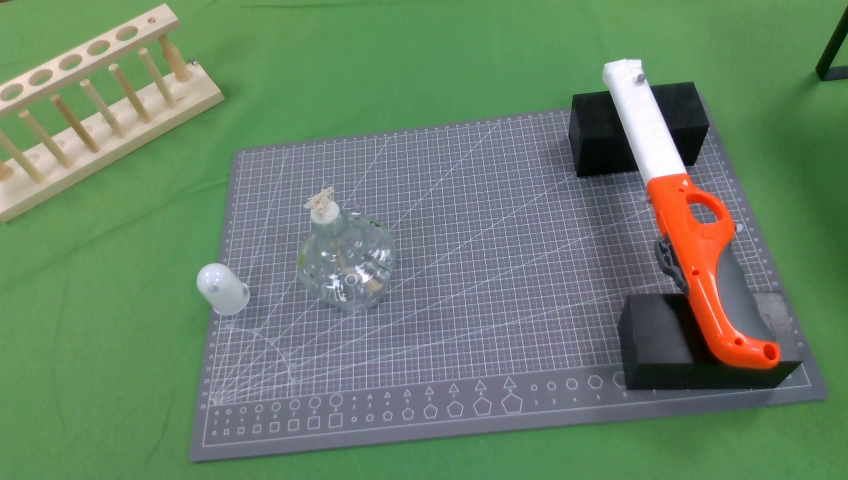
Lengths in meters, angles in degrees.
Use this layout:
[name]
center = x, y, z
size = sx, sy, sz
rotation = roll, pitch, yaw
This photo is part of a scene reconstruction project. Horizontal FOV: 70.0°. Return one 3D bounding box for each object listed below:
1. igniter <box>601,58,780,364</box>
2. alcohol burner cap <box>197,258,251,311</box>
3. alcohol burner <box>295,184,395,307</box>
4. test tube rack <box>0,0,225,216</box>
[igniter]
center = 0.181, -0.037, 0.440
size = 0.057, 0.025, 0.273
rotation = -10, 55, 3
[alcohol burner cap]
center = -0.163, 0.033, 0.490
size = 0.034, 0.048, 0.033
rotation = -4, 59, 6
[alcohol burner]
center = -0.063, 0.001, 0.454
size = 0.078, 0.120, 0.077
rotation = -4, 55, 6
[test tube rack]
center = -0.331, -0.131, 0.593
size = 0.242, 0.086, 0.066
rotation = -34, 60, -14
